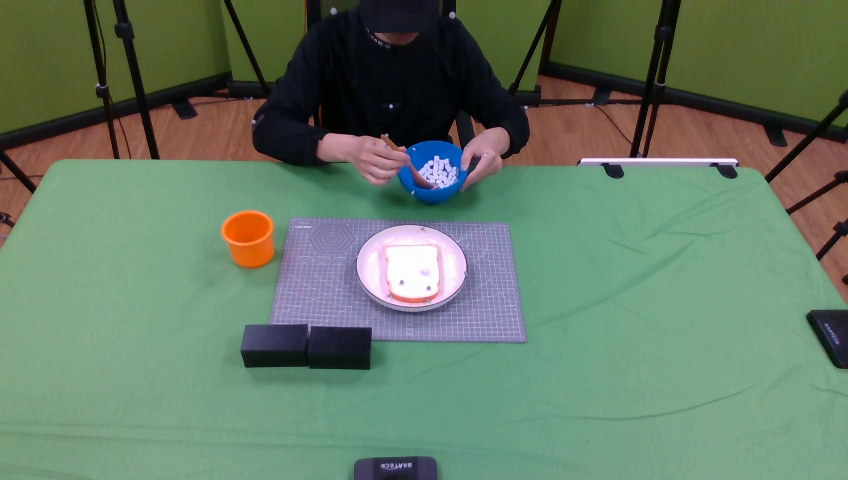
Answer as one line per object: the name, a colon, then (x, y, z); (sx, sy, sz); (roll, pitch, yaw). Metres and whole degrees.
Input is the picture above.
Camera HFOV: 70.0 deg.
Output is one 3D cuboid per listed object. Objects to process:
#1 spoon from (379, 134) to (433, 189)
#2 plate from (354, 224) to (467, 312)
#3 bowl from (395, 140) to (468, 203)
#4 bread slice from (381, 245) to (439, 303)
spoon: (-0.036, -0.153, 1.203); (0.041, 0.195, 0.021); (11, 66, 37)
plate: (-0.025, 0.055, 1.128); (0.209, 0.038, 0.208); (3, 46, -2)
bowl: (0.017, -0.131, 1.267); (0.151, 0.077, 0.150); (-2, 51, 3)
bread slice: (-0.022, 0.061, 1.126); (0.107, 0.018, 0.133); (-3, 45, -8)
